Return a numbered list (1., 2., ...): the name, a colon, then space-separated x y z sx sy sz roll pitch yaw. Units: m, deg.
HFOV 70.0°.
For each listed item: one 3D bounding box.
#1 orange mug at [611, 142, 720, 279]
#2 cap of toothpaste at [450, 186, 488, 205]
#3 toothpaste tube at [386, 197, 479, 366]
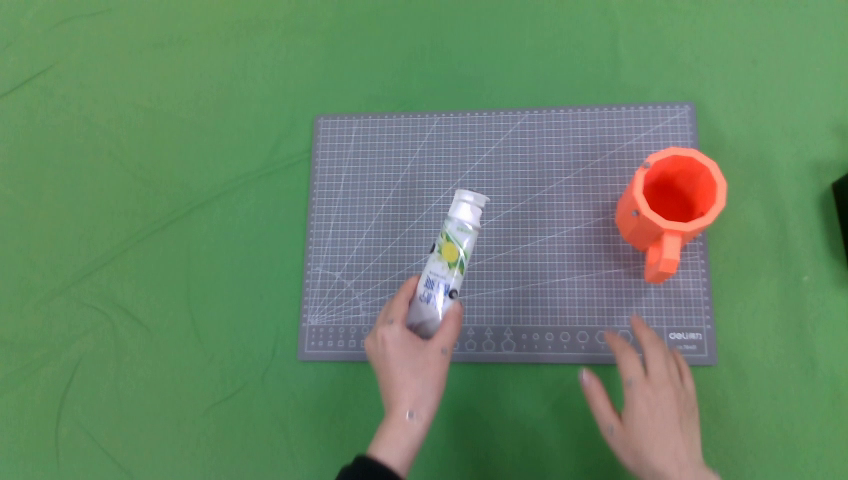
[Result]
1. orange mug: 0.243 -0.026 0.623 0.083 0.101 0.125 8 73 9
2. cap of toothpaste: 0.042 -0.042 0.574 0.037 0.037 0.011 12 84 9
3. toothpaste tube: 0.012 0.034 0.579 0.054 0.035 0.165 21 93 26
